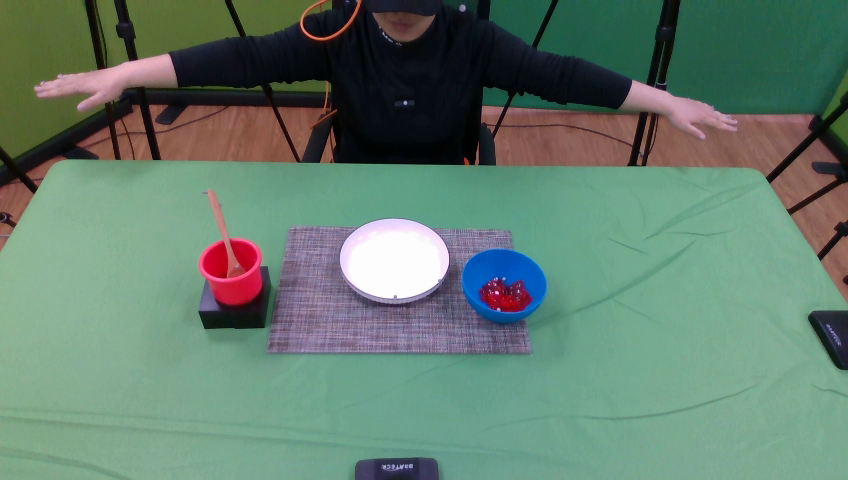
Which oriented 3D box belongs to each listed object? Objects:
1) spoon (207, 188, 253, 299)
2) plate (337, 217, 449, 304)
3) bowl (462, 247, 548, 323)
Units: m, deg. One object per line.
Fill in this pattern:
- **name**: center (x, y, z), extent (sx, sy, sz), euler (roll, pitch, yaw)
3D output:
- **spoon**: center (-0.328, 0.005, 1.013), extent (0.042, 0.021, 0.193), euler (-16, 94, -19)
- **plate**: center (-0.058, 0.042, 1.136), extent (0.208, 0.039, 0.206), euler (2, 46, -2)
- **bowl**: center (0.138, 0.093, 1.072), extent (0.151, 0.077, 0.150), euler (2, 46, -2)
